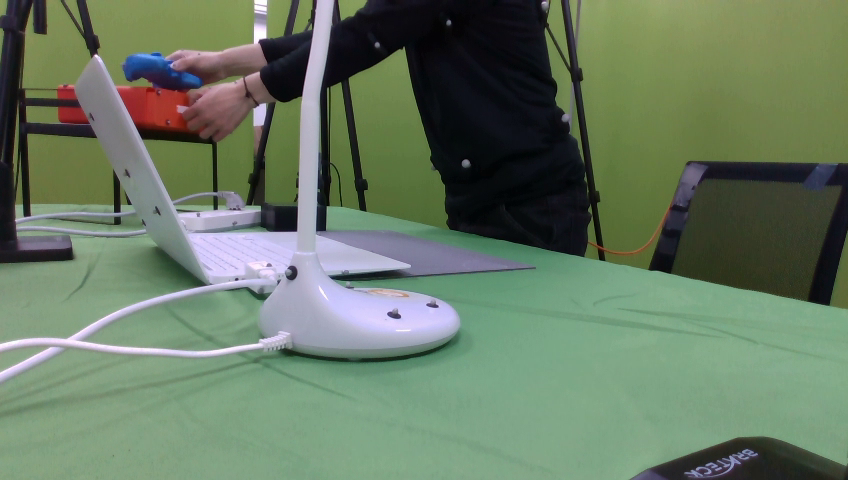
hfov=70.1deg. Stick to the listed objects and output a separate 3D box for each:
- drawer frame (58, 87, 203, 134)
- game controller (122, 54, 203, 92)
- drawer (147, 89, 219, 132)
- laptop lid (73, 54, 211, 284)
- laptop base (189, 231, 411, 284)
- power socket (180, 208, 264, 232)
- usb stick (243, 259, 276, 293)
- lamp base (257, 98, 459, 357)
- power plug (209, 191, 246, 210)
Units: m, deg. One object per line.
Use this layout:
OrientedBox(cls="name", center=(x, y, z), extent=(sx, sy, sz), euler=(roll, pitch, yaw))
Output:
OrientedBox(cls="drawer frame", center=(-0.594, -0.268, 1.260), extent=(0.213, 0.082, 0.202), euler=(4, 8, 14))
OrientedBox(cls="game controller", center=(-0.517, -0.329, 1.194), extent=(0.097, 0.051, 0.155), euler=(-14, -4, 10))
OrientedBox(cls="drawer", center=(-0.570, -0.266, 1.255), extent=(0.211, 0.073, 0.195), euler=(4, 9, 16))
OrientedBox(cls="laptop lid", center=(-0.341, -0.079, 0.704), extent=(0.013, 0.242, 0.355), euler=(-30, 23, -26))
OrientedBox(cls="laptop base", center=(-0.204, 0.019, 0.807), extent=(0.237, 0.023, 0.352), euler=(0, 7, -33))
OrientedBox(cls="power socket", center=(-0.381, -0.038, 1.128), extent=(0.072, 0.032, 0.227), euler=(5, 8, 16))
OrientedBox(cls="usb stick", center=(-0.166, 0.035, 0.604), extent=(0.021, 0.027, 0.059), euler=(-8, 8, -28))
OrientedBox(cls="lamp base", center=(-0.055, -0.014, 0.463), extent=(0.160, 0.180, 0.180), euler=(6, 11, 27))
OrientedBox(cls="power plug", center=(-0.388, -0.071, 1.205), extent=(0.072, 0.052, 0.035), euler=(5, 10, 25))
